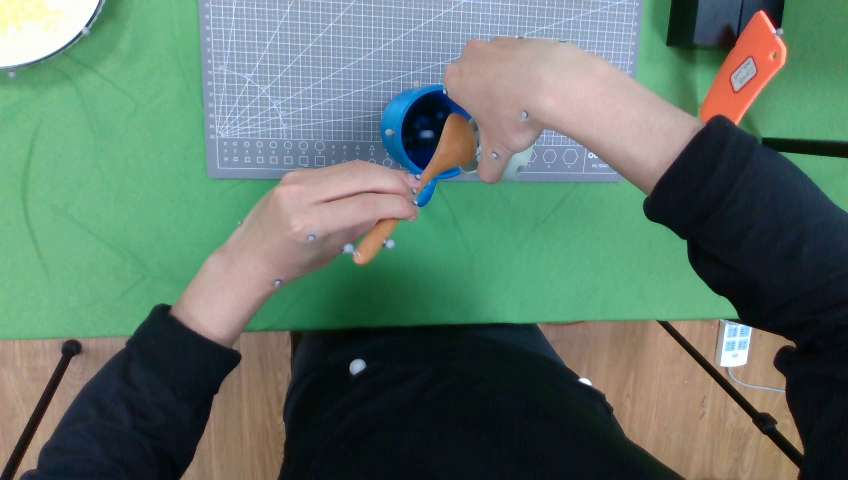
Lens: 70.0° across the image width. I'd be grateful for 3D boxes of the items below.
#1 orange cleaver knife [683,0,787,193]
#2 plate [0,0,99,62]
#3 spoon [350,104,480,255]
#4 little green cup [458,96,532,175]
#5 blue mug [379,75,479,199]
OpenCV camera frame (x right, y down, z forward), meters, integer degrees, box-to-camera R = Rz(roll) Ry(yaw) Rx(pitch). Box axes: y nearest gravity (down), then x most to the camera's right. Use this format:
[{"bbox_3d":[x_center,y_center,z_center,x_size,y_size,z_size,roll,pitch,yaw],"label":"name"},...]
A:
[{"bbox_3d":[0.323,-0.147,0.656,0.012,0.076,0.213,-2,135,-12],"label":"orange cleaver knife"},{"bbox_3d":[-0.370,-0.255,0.499,0.210,0.038,0.210,-3,105,-11],"label":"plate"},{"bbox_3d":[-0.001,-0.047,0.446,0.042,0.021,0.193,56,48,-21],"label":"spoon"},{"bbox_3d":[0.060,-0.086,0.511,0.039,0.061,0.061,23,99,-36],"label":"little green cup"},{"bbox_3d":[0.001,-0.098,0.585,0.082,0.105,0.117,7,102,-14],"label":"blue mug"}]
